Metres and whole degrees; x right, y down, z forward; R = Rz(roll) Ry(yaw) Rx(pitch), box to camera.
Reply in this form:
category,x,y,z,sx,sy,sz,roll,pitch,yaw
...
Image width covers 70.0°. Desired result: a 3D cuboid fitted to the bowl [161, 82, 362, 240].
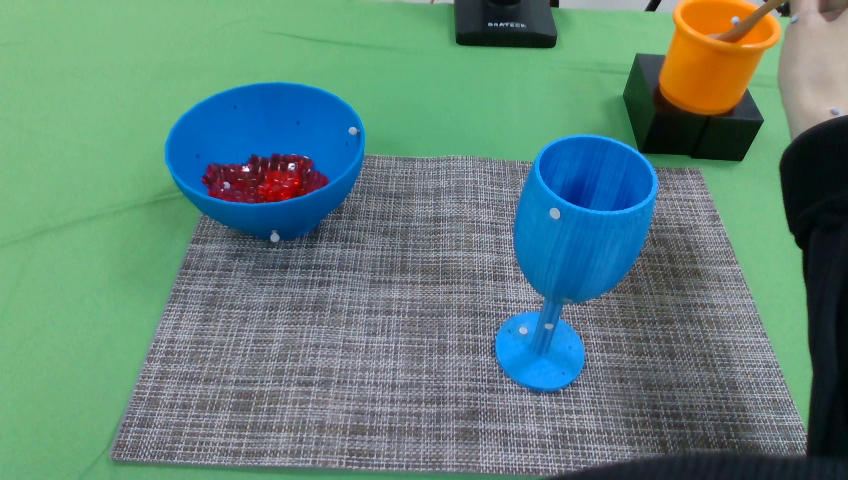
category,x,y,z,sx,sy,sz,roll,pitch,yaw
bowl,-0.124,-0.053,0.494,0.151,0.077,0.150,2,48,-1

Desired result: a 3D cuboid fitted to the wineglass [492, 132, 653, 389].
category,x,y,z,sx,sy,sz,roll,pitch,yaw
wineglass,0.083,0.022,0.373,0.074,0.174,0.073,1,48,-1

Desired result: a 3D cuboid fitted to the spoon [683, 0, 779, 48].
category,x,y,z,sx,sy,sz,roll,pitch,yaw
spoon,0.269,-0.182,0.464,0.041,0.193,0.021,-22,92,-13
